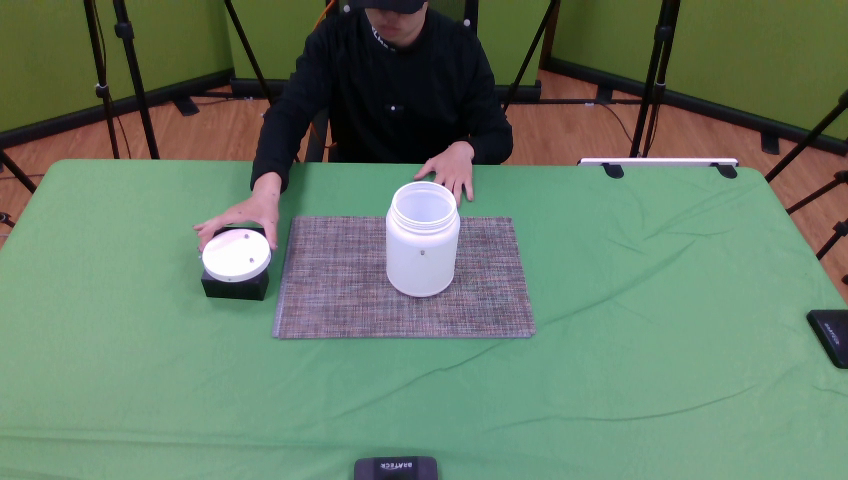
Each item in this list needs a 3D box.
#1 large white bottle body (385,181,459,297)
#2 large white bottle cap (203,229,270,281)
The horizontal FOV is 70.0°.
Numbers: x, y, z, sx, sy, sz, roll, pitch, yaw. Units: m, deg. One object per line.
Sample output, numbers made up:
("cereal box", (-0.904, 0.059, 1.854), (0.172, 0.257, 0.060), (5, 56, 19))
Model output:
("large white bottle body", (-0.004, -0.003, 1.083), (0.131, 0.185, 0.130), (2, 46, -1))
("large white bottle cap", (-0.334, 0.026, 1.082), (0.115, 0.018, 0.114), (2, 46, -2))
